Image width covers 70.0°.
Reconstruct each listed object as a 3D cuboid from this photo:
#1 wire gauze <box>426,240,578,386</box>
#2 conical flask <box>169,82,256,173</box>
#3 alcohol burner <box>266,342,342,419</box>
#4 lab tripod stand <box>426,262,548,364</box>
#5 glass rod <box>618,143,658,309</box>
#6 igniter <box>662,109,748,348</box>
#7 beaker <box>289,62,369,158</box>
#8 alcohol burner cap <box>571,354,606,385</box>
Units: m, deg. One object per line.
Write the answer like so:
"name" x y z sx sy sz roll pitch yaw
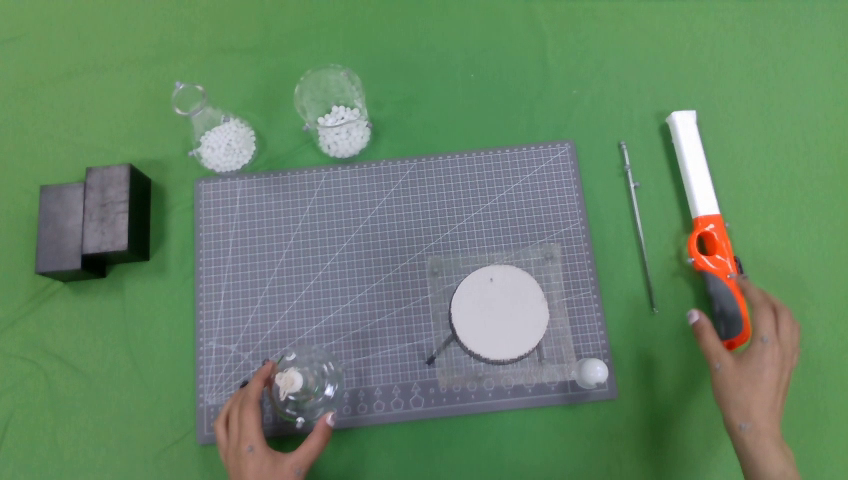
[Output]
"wire gauze" 0.067 0.064 0.537 0.125 0.011 0.121 -5 77 1
"conical flask" -0.238 -0.128 0.669 0.075 0.122 0.075 0 76 1
"alcohol burner" -0.122 0.139 0.603 0.078 0.119 0.077 0 78 0
"lab tripod stand" 0.065 0.082 0.602 0.148 0.132 0.147 0 77 2
"glass rod" 0.243 -0.020 0.690 0.008 0.008 0.198 -7 76 -1
"igniter" 0.314 -0.018 0.679 0.057 0.025 0.275 -5 76 -11
"beaker" -0.099 -0.140 0.681 0.084 0.100 0.074 29 79 7
"alcohol burner cap" 0.175 0.135 0.634 0.034 0.048 0.033 0 76 1
